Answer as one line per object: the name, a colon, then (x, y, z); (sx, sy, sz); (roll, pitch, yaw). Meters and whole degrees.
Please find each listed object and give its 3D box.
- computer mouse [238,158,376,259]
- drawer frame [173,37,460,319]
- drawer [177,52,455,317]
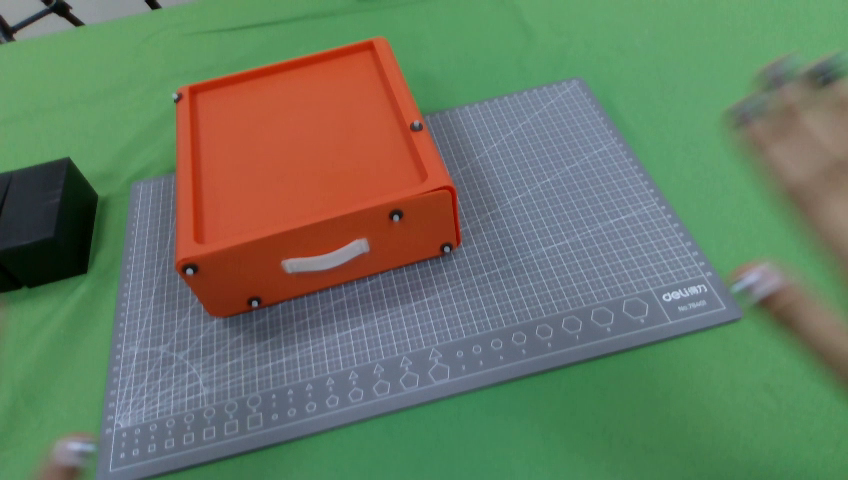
computer mouse: (-0.098, -0.028, 0.498); (0.117, 0.041, 0.062); (-18, 53, 1)
drawer frame: (-0.097, -0.061, 0.507); (0.202, 0.083, 0.211); (-17, 49, -5)
drawer: (-0.097, -0.058, 0.506); (0.194, 0.074, 0.209); (-16, 50, -4)
